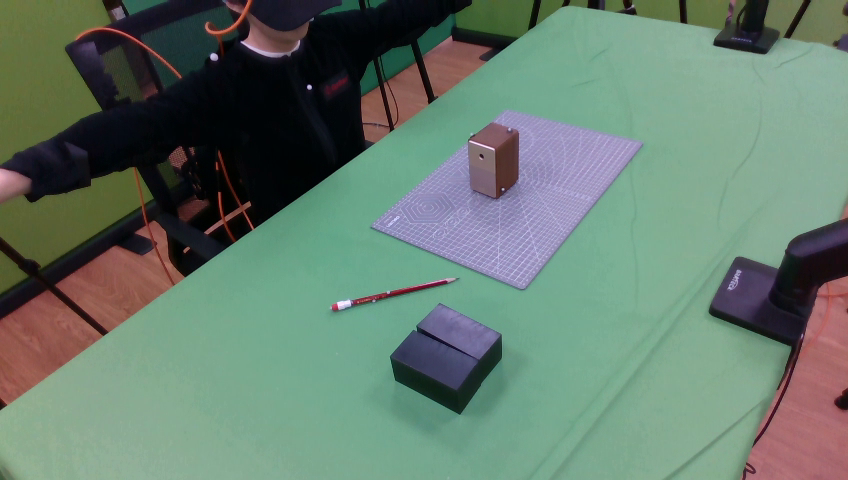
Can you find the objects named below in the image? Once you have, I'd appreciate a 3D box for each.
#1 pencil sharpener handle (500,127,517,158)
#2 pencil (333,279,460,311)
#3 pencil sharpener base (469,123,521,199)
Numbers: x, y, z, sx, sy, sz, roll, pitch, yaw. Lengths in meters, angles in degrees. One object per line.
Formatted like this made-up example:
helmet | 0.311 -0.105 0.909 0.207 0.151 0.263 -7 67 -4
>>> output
pencil sharpener handle | 0.155 -0.177 1.071 0.036 0.068 0.031 32 53 24
pencil | -0.040 0.080 0.900 0.194 0.012 0.012 -12 40 -8
pencil sharpener base | 0.126 -0.138 1.050 0.061 0.107 0.077 24 50 33
